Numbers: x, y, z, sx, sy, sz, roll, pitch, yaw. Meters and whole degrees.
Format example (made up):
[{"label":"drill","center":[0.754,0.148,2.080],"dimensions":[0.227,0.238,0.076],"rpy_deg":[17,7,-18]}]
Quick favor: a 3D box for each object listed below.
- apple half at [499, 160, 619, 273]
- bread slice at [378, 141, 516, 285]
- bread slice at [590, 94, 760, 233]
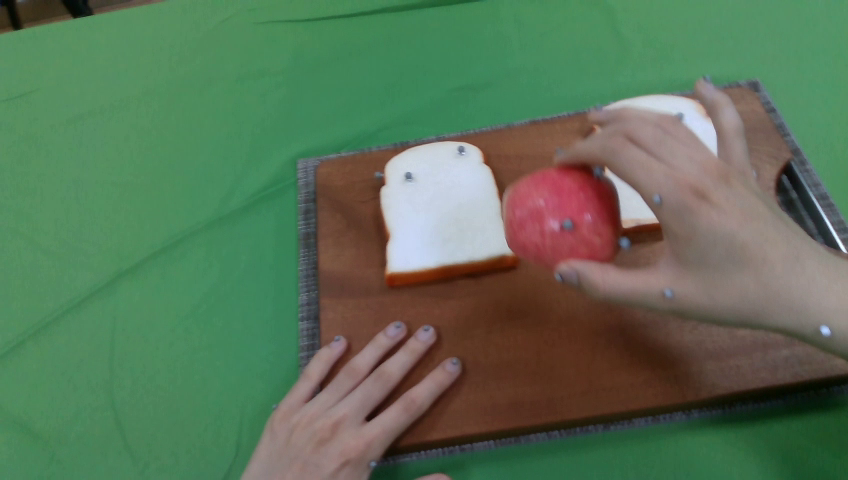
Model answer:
[{"label":"apple half","center":[0.084,-0.020,0.370],"dimensions":[0.081,0.033,0.080],"rpy_deg":[-1,68,3]},{"label":"bread slice","center":[0.011,-0.028,0.501],"dimensions":[0.105,0.019,0.130],"rpy_deg":[-10,58,0]},{"label":"bread slice","center":[0.192,-0.067,0.498],"dimensions":[0.107,0.018,0.133],"rpy_deg":[-11,56,1]}]
